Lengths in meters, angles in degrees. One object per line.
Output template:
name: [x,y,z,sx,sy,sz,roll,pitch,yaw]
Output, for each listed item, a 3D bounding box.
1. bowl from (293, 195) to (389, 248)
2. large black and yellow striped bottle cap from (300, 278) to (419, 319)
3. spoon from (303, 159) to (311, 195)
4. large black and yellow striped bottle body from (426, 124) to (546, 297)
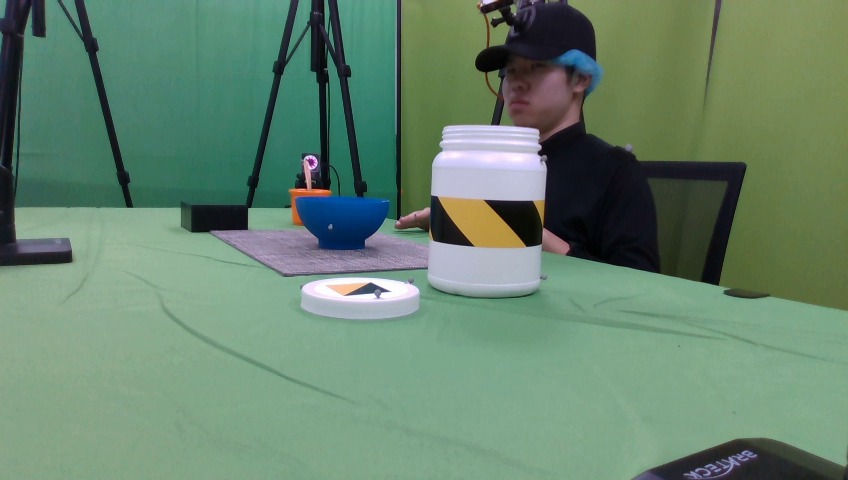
bowl: [-0.132,-0.029,0.962,0.151,0.077,0.151,2,7,0]
large black and yellow striped bottle cap: [-0.062,0.055,0.588,0.115,0.019,0.115,1,6,0]
spoon: [-0.257,-0.113,1.341,0.042,0.193,0.021,3,-38,-18]
large black and yellow striped bottle body: [0.070,-0.037,0.689,0.131,0.184,0.130,2,7,0]
